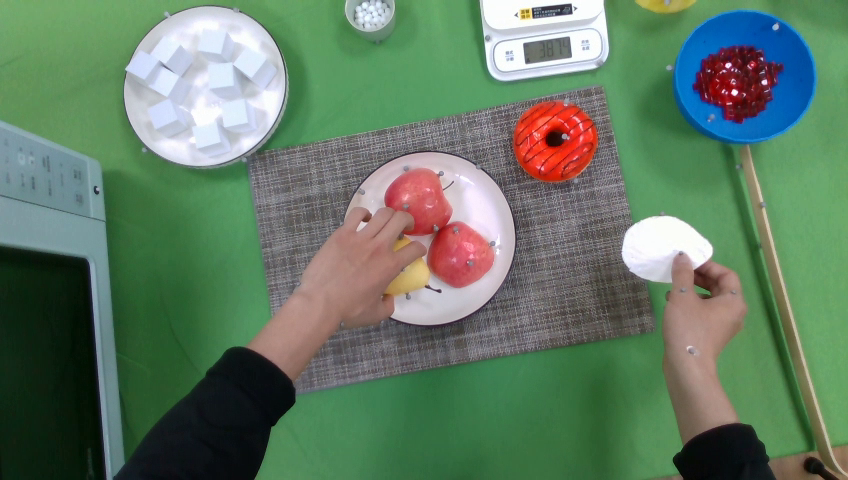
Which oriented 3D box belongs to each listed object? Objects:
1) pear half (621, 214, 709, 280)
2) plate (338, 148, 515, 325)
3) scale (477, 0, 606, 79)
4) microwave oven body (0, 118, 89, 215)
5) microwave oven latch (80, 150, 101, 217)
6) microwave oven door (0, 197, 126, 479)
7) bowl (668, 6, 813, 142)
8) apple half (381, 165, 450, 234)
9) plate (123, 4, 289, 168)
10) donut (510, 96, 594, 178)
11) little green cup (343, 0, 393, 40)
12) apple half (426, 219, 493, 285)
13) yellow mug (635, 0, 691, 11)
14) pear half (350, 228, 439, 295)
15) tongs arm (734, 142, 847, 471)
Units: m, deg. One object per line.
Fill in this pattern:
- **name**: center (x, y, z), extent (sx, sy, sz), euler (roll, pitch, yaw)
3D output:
- **pear half**: center (0.259, 0.005, 0.653), extent (0.087, 0.031, 0.070), euler (3, 104, 26)
- **plate**: center (0.003, -0.004, 0.719), extent (0.209, 0.038, 0.208), euler (0, 84, 4)
- **scale**: center (0.139, -0.305, 0.745), extent (0.148, 0.031, 0.200), euler (-6, 85, 4)
- **microwave oven body**: center (-0.548, 0.117, 0.636), extent (0.326, 0.261, 0.440), euler (-8, 84, 3)
- **microwave oven latch**: center (-0.417, -0.068, 0.741), extent (0.030, 0.029, 0.079), euler (-7, 85, 3)
- **microwave oven door**: center (-0.398, 0.137, 0.618), extent (0.039, 0.244, 0.354), euler (-9, 83, 3)
- **bowl**: center (0.348, -0.178, 0.695), extent (0.151, 0.077, 0.151), euler (0, 85, 4)
- **apple half**: center (-0.012, -0.048, 0.707), extent (0.074, 0.053, 0.080), euler (-19, 86, 6)
- **plate**: center (-0.268, -0.190, 0.761), extent (0.207, 0.039, 0.207), euler (0, 84, 4)
- **donut**: center (0.150, -0.121, 0.716), extent (0.099, 0.048, 0.099), euler (-1, 85, 7)
- **little green cup**: center (-0.067, -0.282, 0.755), extent (0.061, 0.039, 0.061), euler (0, 84, 5)
- **apple half**: center (0.039, 0.015, 0.710), extent (0.081, 0.033, 0.081), euler (-1, 84, 5)
- **yellow mug**: center (0.281, -0.346, 0.721), extent (0.100, 0.064, 0.130), euler (-43, 82, 0)
- **pear half**: center (-0.031, 0.029, 0.692), extent (0.109, 0.056, 0.076), euler (24, 81, 15)
- **tongs arm**: center (0.423, 0.071, 0.687), extent (0.051, 0.026, 0.383), euler (-10, 85, -2)
